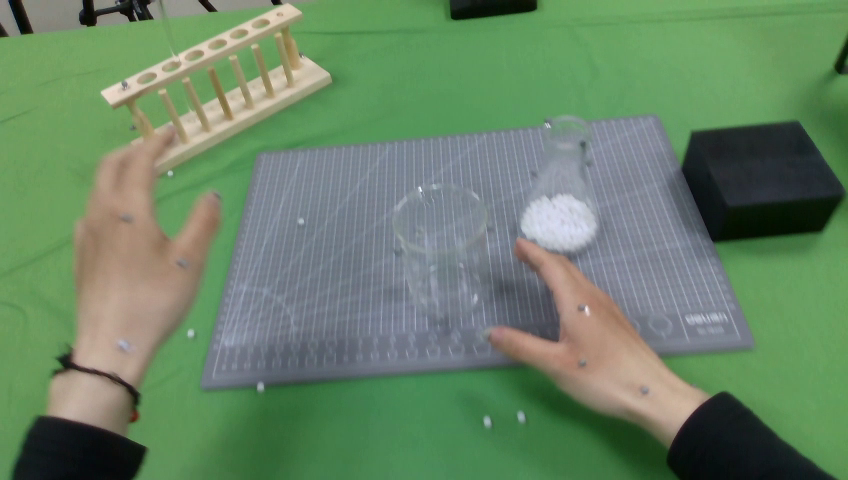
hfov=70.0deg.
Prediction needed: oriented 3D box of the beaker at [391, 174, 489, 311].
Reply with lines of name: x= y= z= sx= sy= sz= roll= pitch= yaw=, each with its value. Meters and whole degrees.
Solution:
beaker: x=0.015 y=0.005 z=0.507 sx=0.074 sy=0.101 sz=0.083 roll=-24 pitch=50 yaw=-12

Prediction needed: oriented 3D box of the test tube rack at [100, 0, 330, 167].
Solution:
test tube rack: x=-0.237 y=-0.192 z=0.716 sx=0.242 sy=0.086 sz=0.066 roll=-35 pitch=54 yaw=-21

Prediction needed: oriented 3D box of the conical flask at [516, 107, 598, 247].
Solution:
conical flask: x=0.119 y=-0.057 z=0.529 sx=0.075 sy=0.123 sz=0.074 roll=-4 pitch=50 yaw=5

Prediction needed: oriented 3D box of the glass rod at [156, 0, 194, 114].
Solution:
glass rod: x=-0.280 y=-0.226 z=0.664 sx=0.008 sy=0.201 sz=0.008 roll=0 pitch=43 yaw=0
